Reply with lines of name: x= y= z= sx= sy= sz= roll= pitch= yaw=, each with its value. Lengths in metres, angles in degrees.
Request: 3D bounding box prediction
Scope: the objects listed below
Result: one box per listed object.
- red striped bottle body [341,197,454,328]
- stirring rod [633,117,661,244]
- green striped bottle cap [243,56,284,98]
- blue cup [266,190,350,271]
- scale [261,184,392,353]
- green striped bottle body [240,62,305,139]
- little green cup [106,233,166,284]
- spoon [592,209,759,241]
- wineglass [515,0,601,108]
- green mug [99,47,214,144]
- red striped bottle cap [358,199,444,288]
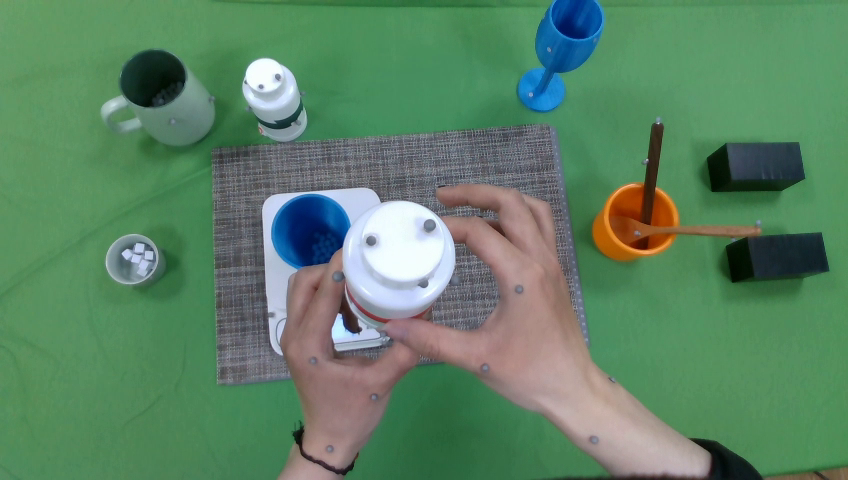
red striped bottle body: x=-0.018 y=0.015 z=0.363 sx=0.063 sy=0.120 sz=0.062 roll=2 pitch=74 yaw=-6
stirring rod: x=0.270 y=-0.066 z=0.736 sx=0.014 sy=0.178 sz=0.005 roll=0 pitch=37 yaw=10
green striped bottle cap: x=-0.185 y=-0.188 z=0.696 sx=0.044 sy=0.020 sz=0.044 roll=1 pitch=76 yaw=-3
blue cup: x=-0.125 y=-0.003 z=0.688 sx=0.093 sy=0.100 sz=0.092 roll=1 pitch=79 yaw=-5
scale: x=-0.121 y=0.032 z=0.747 sx=0.149 sy=0.031 sz=0.200 roll=-6 pitch=79 yaw=-4
green striped bottle body: x=-0.187 y=-0.176 z=0.747 sx=0.063 sy=0.119 sz=0.063 roll=1 pitch=77 yaw=-3
little green cup: x=-0.347 y=0.024 z=0.735 sx=0.061 sy=0.039 sz=0.061 roll=1 pitch=77 yaw=-4
spoon: x=0.294 y=-0.017 z=0.726 sx=0.022 sy=0.192 sz=0.041 roll=15 pitch=81 yaw=-44
wineglass: x=0.161 y=-0.232 z=0.752 sx=0.074 sy=0.173 sz=0.073 roll=1 pitch=77 yaw=-2
green mug: x=-0.332 y=-0.168 z=0.745 sx=0.125 sy=0.105 sz=0.092 roll=-27 pitch=80 yaw=-8
red striped bottle cap: x=-0.012 y=0.001 z=0.311 sx=0.044 sy=0.018 sz=0.044 roll=2 pitch=73 yaw=-7
